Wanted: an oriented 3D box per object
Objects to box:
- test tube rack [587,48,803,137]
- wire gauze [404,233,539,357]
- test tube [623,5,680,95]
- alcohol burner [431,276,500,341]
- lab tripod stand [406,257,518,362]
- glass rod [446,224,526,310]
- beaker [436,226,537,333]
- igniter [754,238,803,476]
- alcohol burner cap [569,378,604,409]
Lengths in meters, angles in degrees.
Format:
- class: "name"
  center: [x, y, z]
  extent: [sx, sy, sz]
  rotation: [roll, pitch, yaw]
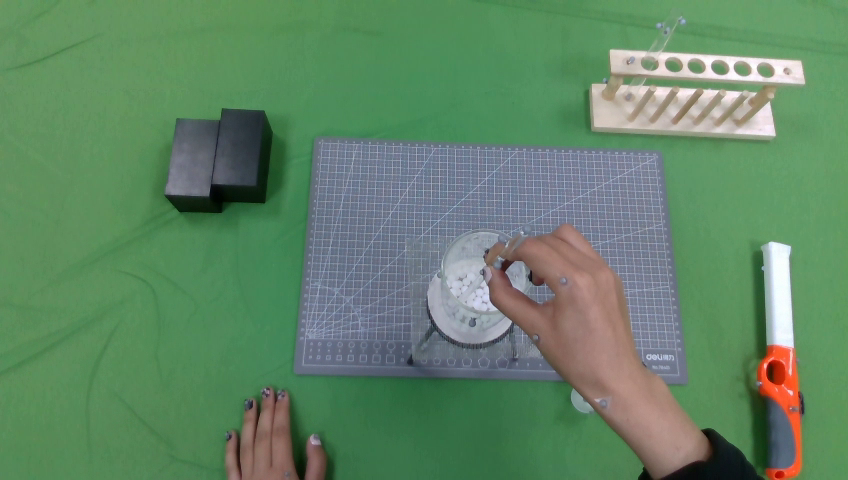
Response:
- class: "test tube rack"
  center: [0.342, -0.187, 0.776]
  extent: [0.242, 0.085, 0.066]
  rotation: [2, 71, -2]
- class: "wire gauze"
  center: [0.044, 0.051, 0.582]
  extent: [0.125, 0.011, 0.120]
  rotation: [-1, 69, -1]
- class: "test tube"
  center: [0.272, -0.225, 0.733]
  extent: [0.017, 0.151, 0.017]
  rotation: [1, 68, -1]
- class: "alcohol burner"
  center: [0.046, 0.072, 0.655]
  extent: [0.078, 0.120, 0.077]
  rotation: [2, 69, -4]
- class: "lab tripod stand"
  center: [0.041, 0.076, 0.643]
  extent: [0.148, 0.132, 0.147]
  rotation: [0, 70, -1]
- class: "glass rod"
  center: [0.042, 0.027, 0.474]
  extent: [0.008, 0.200, 0.008]
  rotation: [4, 68, -11]
- class: "beaker"
  center: [0.050, 0.039, 0.535]
  extent: [0.084, 0.101, 0.073]
  rotation: [-2, 71, -4]
- class: "igniter"
  center: [0.410, 0.130, 0.705]
  extent: [0.057, 0.025, 0.275]
  rotation: [12, 71, -10]
- class: "alcohol burner cap"
  center: [0.183, 0.169, 0.672]
  extent: [0.034, 0.048, 0.033]
  rotation: [1, 70, -2]
